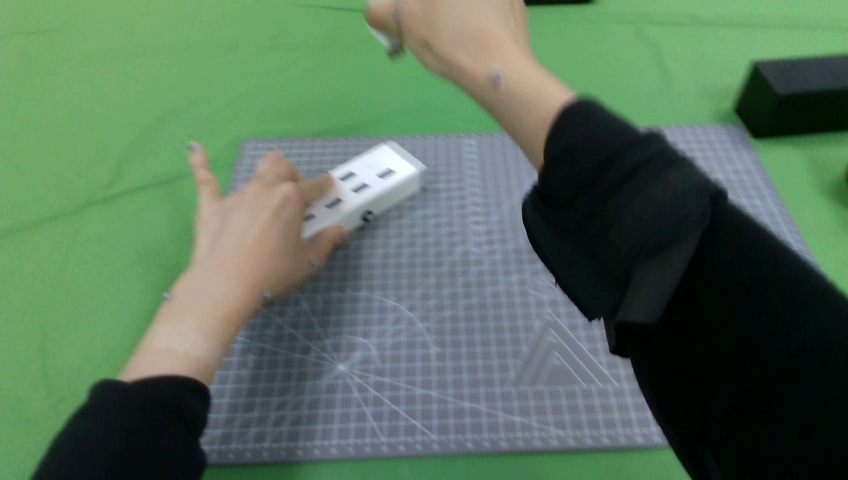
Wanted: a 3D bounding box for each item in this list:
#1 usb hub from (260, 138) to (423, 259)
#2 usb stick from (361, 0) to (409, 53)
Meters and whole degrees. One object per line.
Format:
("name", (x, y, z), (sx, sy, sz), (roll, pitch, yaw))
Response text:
("usb hub", (-0.063, -0.036, 0.482), (0.125, 0.025, 0.049), (-33, 55, -25))
("usb stick", (-0.025, -0.146, 0.379), (0.021, 0.059, 0.027), (-36, 64, -22))
